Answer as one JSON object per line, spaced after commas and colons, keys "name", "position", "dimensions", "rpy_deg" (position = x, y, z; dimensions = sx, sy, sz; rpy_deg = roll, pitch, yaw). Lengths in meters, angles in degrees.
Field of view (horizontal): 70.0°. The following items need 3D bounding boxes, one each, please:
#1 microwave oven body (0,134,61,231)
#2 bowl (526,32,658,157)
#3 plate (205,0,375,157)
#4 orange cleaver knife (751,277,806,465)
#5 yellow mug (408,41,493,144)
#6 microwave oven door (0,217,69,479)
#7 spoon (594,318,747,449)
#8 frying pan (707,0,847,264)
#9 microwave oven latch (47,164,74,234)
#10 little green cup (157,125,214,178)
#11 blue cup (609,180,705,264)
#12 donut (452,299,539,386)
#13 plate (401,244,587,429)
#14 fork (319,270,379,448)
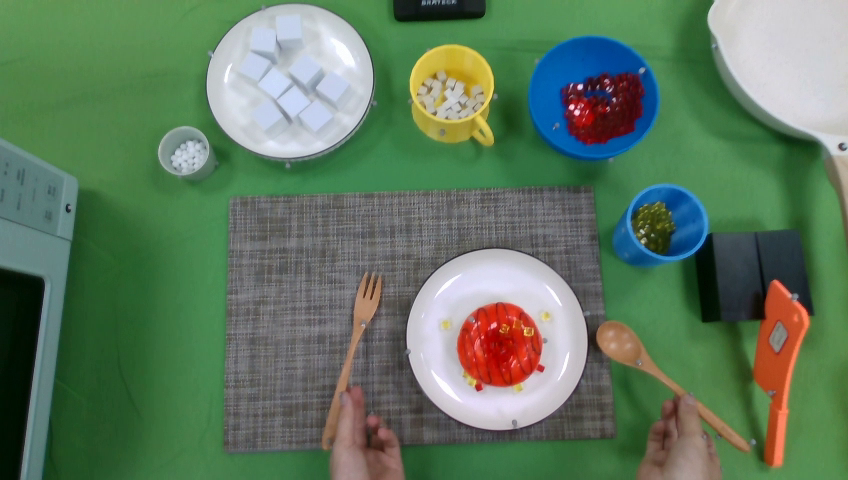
{"name": "microwave oven body", "position": [-0.588, 0.104, 0.588], "dimensions": [0.326, 0.261, 0.440], "rpy_deg": [1, 80, 0]}
{"name": "bowl", "position": [0.193, -0.162, 0.730], "dimensions": [0.151, 0.077, 0.151], "rpy_deg": [0, 80, 1]}
{"name": "plate", "position": [-0.164, -0.200, 0.758], "dimensions": [0.208, 0.039, 0.207], "rpy_deg": [0, 80, 0]}
{"name": "orange cleaver knife", "position": [0.385, 0.147, 0.671], "dimensions": [0.012, 0.076, 0.212], "rpy_deg": [-3, 108, 0]}
{"name": "yellow mug", "position": [0.041, -0.169, 0.738], "dimensions": [0.100, 0.064, 0.130], "rpy_deg": [-39, 82, -6]}
{"name": "microwave oven door", "position": [-0.443, 0.148, 0.575], "dimensions": [0.039, 0.244, 0.354], "rpy_deg": [1, 79, 1]}
{"name": "spoon", "position": [0.266, 0.156, 0.663], "dimensions": [0.041, 0.022, 0.192], "rpy_deg": [-43, 61, -7]}
{"name": "frying pan", "position": [0.484, -0.157, 0.714], "dimensions": [0.307, 0.103, 0.485], "rpy_deg": [3, 72, 2]}
{"name": "microwave oven latch", "position": [-0.435, -0.048, 0.713], "dimensions": [0.030, 0.029, 0.079], "rpy_deg": [4, 80, 0]}
{"name": "little green cup", "position": [-0.288, -0.105, 0.740], "dimensions": [0.061, 0.039, 0.061], "rpy_deg": [0, 80, -1]}
{"name": "blue cup", "position": [0.255, -0.012, 0.690], "dimensions": [0.093, 0.100, 0.092], "rpy_deg": [0, 78, -1]}
{"name": "donut", "position": [0.081, 0.115, 0.685], "dimensions": [0.099, 0.048, 0.099], "rpy_deg": [0, 83, 1]}
{"name": "plate", "position": [0.079, 0.109, 0.697], "dimensions": [0.209, 0.038, 0.208], "rpy_deg": [0, 81, 0]}
{"name": "fork", "position": [-0.086, 0.131, 0.691], "dimensions": [0.028, 0.019, 0.206], "rpy_deg": [13, 67, 2]}
